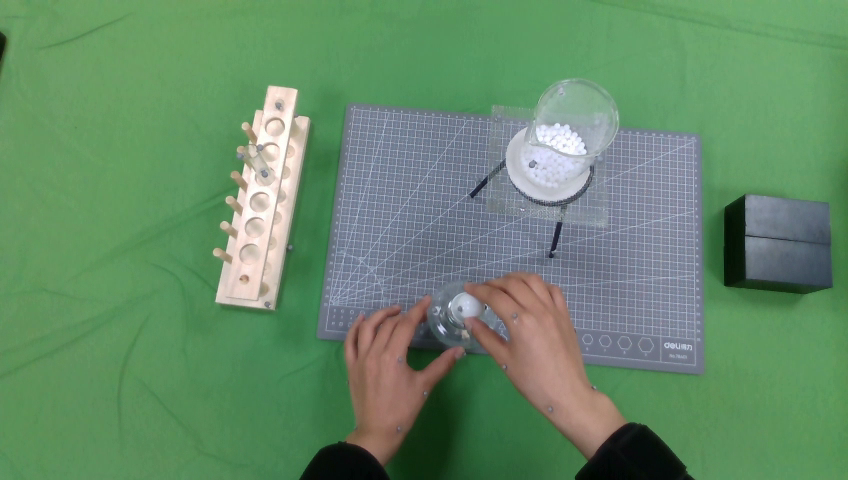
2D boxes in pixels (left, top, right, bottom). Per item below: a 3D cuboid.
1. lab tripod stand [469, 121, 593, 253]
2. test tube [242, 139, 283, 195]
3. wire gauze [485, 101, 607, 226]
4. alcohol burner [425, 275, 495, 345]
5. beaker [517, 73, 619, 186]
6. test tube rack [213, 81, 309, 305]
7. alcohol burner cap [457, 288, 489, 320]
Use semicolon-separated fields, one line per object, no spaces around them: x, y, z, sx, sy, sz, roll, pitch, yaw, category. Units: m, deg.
0.128;-0.069;0.680;0.148;0.132;0.147;0;75;-1;lab tripod stand
-0.170;-0.074;0.650;0.017;0.150;0.017;1;78;-3;test tube
0.125;-0.081;0.615;0.125;0.011;0.121;7;77;-2;wire gauze
0.041;0.073;0.655;0.078;0.119;0.077;1;77;-3;alcohol burner
0.127;-0.096;0.569;0.084;0.100;0.073;-28;79;-8;beaker
-0.192;-0.054;0.695;0.067;0.085;0.241;8;77;1;test tube rack
0.048;0.066;0.605;0.034;0.048;0.034;0;89;9;alcohol burner cap
